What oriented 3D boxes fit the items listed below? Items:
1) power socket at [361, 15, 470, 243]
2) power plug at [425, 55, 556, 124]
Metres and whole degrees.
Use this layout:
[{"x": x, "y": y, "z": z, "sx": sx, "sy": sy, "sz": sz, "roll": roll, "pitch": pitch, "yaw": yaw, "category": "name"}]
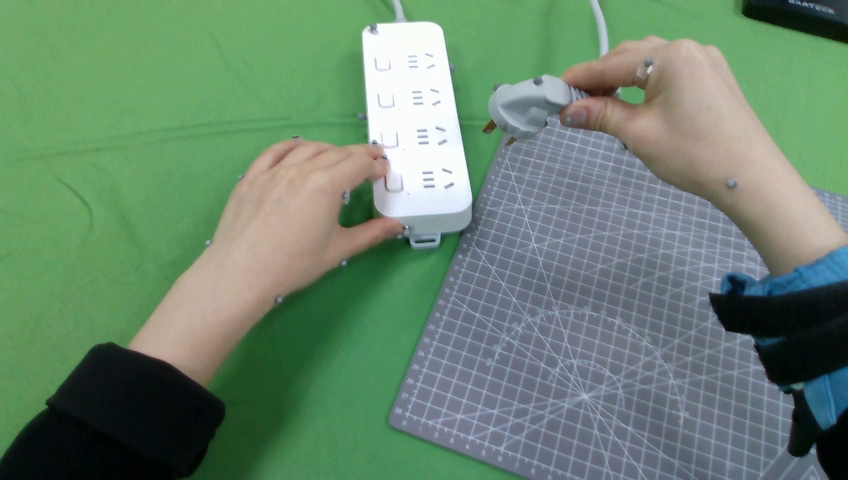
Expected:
[{"x": -0.011, "y": -0.101, "z": 0.481, "sx": 0.072, "sy": 0.033, "sz": 0.224, "roll": -3, "pitch": 57, "yaw": -5, "category": "power socket"}, {"x": 0.042, "y": -0.098, "z": 0.366, "sx": 0.072, "sy": 0.035, "sz": 0.052, "roll": 31, "pitch": 61, "yaw": 17, "category": "power plug"}]
